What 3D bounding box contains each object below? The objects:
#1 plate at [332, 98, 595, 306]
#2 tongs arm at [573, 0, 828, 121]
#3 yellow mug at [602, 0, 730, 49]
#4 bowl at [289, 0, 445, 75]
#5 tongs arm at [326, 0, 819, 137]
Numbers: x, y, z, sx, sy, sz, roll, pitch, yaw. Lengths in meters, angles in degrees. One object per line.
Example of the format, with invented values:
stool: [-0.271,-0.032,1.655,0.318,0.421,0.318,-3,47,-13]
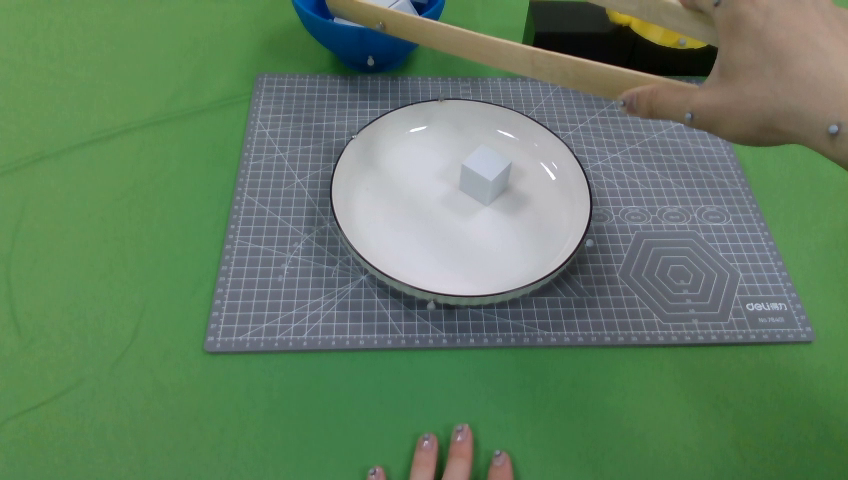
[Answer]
plate: [0.031,-0.033,0.494,0.208,0.039,0.205,1,54,-2]
tongs arm: [0.108,-0.180,0.459,0.381,0.027,0.050,33,69,33]
yellow mug: [0.229,-0.235,0.573,0.131,0.064,0.099,-14,56,-11]
bowl: [-0.055,-0.219,0.601,0.151,0.077,0.150,1,54,-1]
tongs arm: [0.067,-0.137,0.441,0.384,0.028,0.028,25,61,30]
